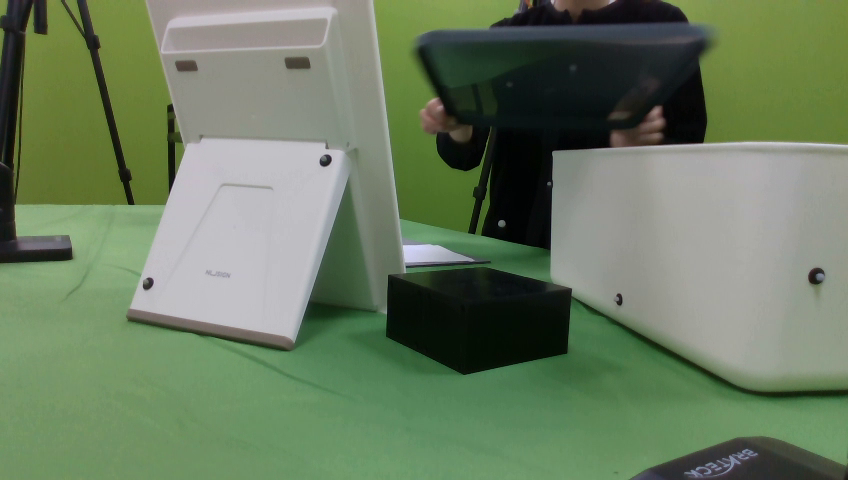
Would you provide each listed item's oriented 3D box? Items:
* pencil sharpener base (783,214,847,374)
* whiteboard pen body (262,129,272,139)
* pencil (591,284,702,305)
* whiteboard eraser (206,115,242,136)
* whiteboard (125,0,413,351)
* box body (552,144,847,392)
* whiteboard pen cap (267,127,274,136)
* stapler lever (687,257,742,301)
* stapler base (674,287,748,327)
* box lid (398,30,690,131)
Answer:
[{"bbox_3d":[0.321,0.038,0.442,0.077,0.107,0.061,1,8,-17],"label":"pencil sharpener base"},{"bbox_3d":[-0.361,-0.245,1.393,0.017,0.017,0.140,0,5,-20],"label":"whiteboard pen body"},{"bbox_3d":[0.248,0.057,0.656,0.195,0.012,0.012,-2,9,-35],"label":"pencil"},{"bbox_3d":[-0.438,-0.249,1.320,0.056,0.042,0.112,-3,9,-30],"label":"whiteboard eraser"},{"bbox_3d":[-0.151,-0.050,0.471,0.216,0.305,0.144,6,27,24],"label":"whiteboard"},{"bbox_3d":[0.290,0.002,0.549,0.255,0.160,0.363,2,7,-10],"label":"box body"},{"bbox_3d":[-0.340,-0.239,1.337,0.018,0.018,0.033,1,-1,-15],"label":"whiteboard pen cap"},{"bbox_3d":[0.283,0.035,0.585,0.026,0.040,0.119,11,8,37],"label":"stapler lever"},{"bbox_3d":[0.281,0.061,0.586,0.041,0.024,0.131,11,9,37],"label":"stapler base"},{"bbox_3d":[0.132,-0.168,0.700,0.263,0.015,0.372,2,-1,10],"label":"box lid"}]
